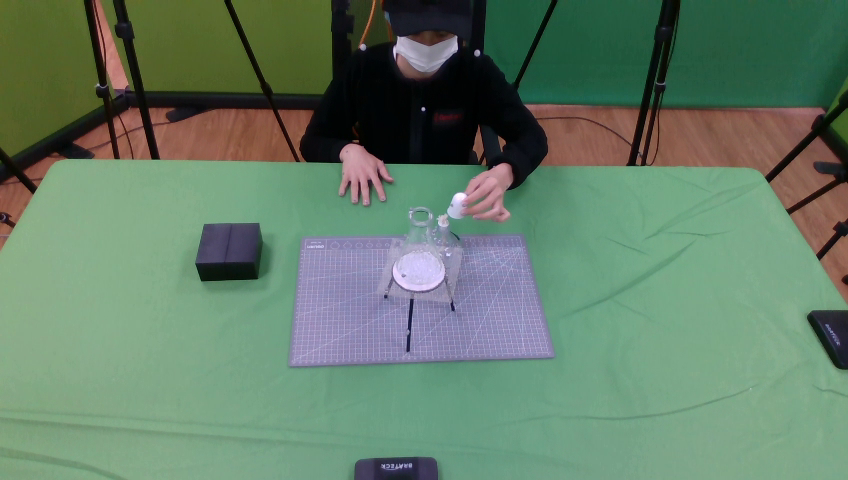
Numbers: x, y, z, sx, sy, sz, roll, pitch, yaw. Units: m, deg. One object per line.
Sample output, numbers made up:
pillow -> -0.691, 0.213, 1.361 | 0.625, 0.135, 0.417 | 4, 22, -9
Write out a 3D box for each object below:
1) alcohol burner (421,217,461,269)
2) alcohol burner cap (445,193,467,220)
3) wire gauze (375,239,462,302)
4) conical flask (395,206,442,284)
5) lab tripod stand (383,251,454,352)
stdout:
alcohol burner -> 0.033, -0.001, 1.135 | 0.078, 0.119, 0.077 | 2, 48, -3
alcohol burner cap -> 0.059, -0.063, 1.068 | 0.034, 0.048, 0.033 | 9, 46, -9
wire gauze -> -0.006, 0.049, 0.977 | 0.121, 0.011, 0.124 | 10, 43, 5
conical flask -> -0.007, 0.005, 0.937 | 0.075, 0.122, 0.075 | 2, 45, -1
lab tripod stand -> -0.015, 0.094, 1.025 | 0.148, 0.132, 0.147 | 1, 46, -1
